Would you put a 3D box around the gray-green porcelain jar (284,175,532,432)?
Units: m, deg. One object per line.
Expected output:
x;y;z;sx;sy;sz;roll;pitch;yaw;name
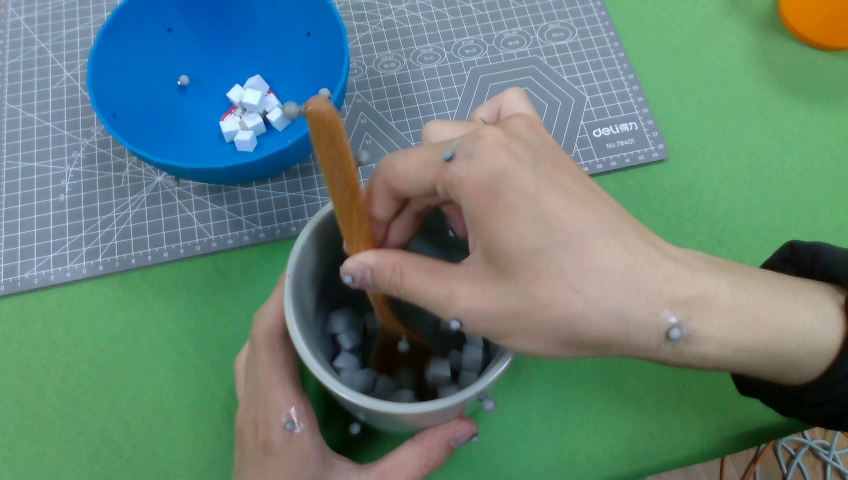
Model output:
-0.007;0.042;0.310;0.106;0.127;0.105;0;68;0;gray-green porcelain jar

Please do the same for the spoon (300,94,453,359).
-0.018;0.009;0.281;0.041;0.195;0.021;-2;57;11;spoon

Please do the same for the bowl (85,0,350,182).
-0.118;-0.094;0.384;0.151;0.077;0.150;0;68;-1;bowl
